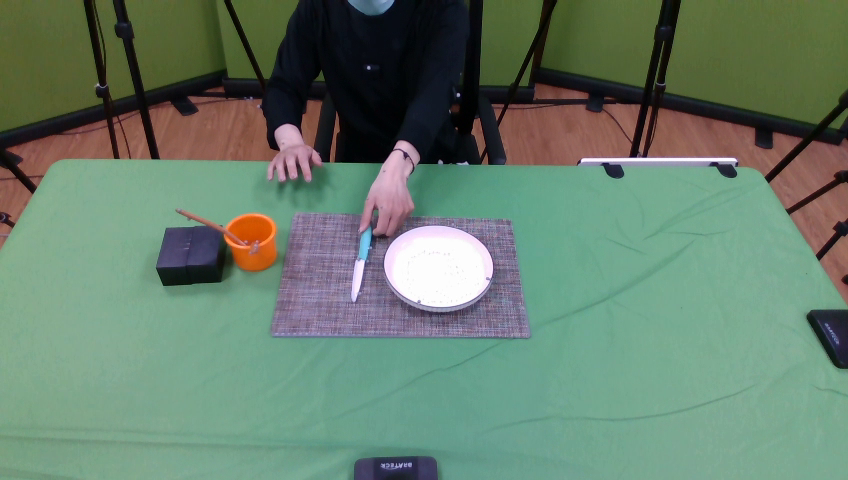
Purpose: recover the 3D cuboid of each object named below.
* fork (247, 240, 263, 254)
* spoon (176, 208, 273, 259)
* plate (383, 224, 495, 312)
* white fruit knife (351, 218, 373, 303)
[{"bbox_3d":[-0.301,0.011,1.075,0.028,0.018,0.207,3,0,-15],"label":"fork"},{"bbox_3d":[-0.355,-0.011,1.088,0.041,0.195,0.021,21,77,54],"label":"spoon"},{"bbox_3d":[0.026,0.055,1.128,0.209,0.038,0.208,2,46,-2],"label":"plate"},{"bbox_3d":[-0.119,0.035,1.150,0.027,0.016,0.206,-18,45,25],"label":"white fruit knife"}]
